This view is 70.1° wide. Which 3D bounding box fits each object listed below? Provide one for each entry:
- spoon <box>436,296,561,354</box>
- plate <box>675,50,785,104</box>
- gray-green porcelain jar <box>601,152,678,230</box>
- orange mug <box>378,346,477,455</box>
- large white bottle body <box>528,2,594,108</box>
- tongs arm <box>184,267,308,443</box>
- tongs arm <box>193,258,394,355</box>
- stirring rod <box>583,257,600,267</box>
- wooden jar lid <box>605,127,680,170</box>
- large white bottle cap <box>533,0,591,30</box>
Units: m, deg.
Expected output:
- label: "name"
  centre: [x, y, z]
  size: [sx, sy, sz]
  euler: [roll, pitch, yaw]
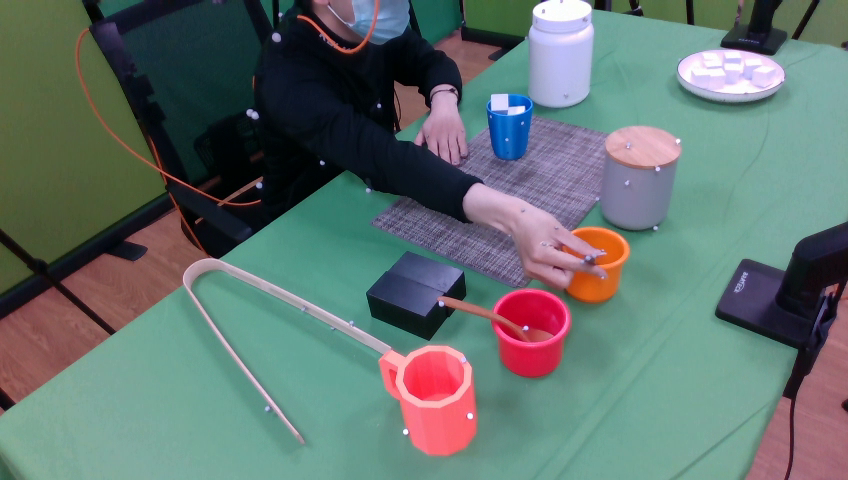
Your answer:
- label: "spoon"
  centre: [0.096, 0.102, 0.750]
  size: [0.195, 0.021, 0.041]
  euler: [28, 30, -27]
- label: "plate"
  centre: [0.632, -0.336, 1.262]
  size: [0.207, 0.039, 0.206]
  euler: [-4, 41, 4]
- label: "gray-green porcelain jar"
  centre: [0.335, -0.087, 0.949]
  size: [0.106, 0.127, 0.105]
  euler: [-4, 40, 4]
- label: "orange mug"
  centre: [0.002, 0.179, 0.709]
  size: [0.125, 0.101, 0.083]
  euler: [25, 50, 27]
- label: "large white bottle body"
  centre: [0.283, -0.386, 1.259]
  size: [0.130, 0.185, 0.130]
  euler: [-5, 41, 4]
- label: "tongs arm"
  centre: [-0.259, 0.147, 0.843]
  size: [0.028, 0.028, 0.384]
  euler: [-37, 48, -18]
- label: "tongs arm"
  centre: [-0.204, 0.099, 0.881]
  size: [0.382, 0.027, 0.051]
  euler: [23, 55, 32]
- label: "stirring rod"
  centre: [0.227, 0.030, 0.815]
  size: [0.014, 0.006, 0.177]
  euler: [15, 1, 19]
- label: "wooden jar lid"
  centre: [0.327, -0.134, 0.909]
  size: [0.108, 0.021, 0.108]
  euler: [-2, 43, 2]
- label: "large white bottle cap"
  centre: [0.275, -0.449, 1.204]
  size: [0.115, 0.018, 0.114]
  euler: [-4, 41, 4]
